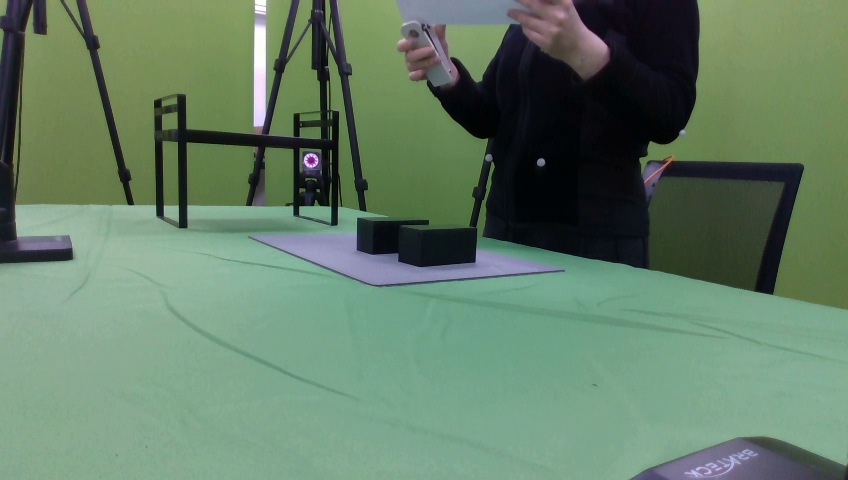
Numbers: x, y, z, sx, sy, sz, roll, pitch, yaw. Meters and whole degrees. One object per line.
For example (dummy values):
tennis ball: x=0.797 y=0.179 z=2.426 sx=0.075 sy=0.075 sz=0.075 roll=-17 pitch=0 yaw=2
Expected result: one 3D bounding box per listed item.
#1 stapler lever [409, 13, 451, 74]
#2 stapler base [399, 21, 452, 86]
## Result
stapler lever: x=0.012 y=-0.348 z=1.076 sx=0.026 sy=0.040 sz=0.118 roll=-7 pitch=-42 yaw=34
stapler base: x=0.006 y=-0.330 z=1.061 sx=0.041 sy=0.024 sz=0.131 roll=-7 pitch=-43 yaw=34
